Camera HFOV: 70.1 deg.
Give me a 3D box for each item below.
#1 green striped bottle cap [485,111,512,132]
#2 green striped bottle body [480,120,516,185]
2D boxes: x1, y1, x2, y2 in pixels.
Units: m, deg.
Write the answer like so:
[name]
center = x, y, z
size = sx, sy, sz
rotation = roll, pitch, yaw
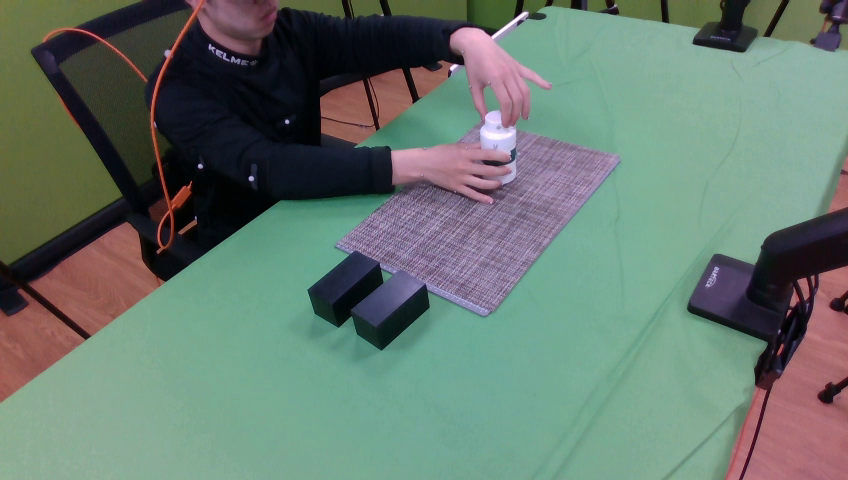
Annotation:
[green striped bottle cap]
center = 0.125, -0.201, 1.024
size = 0.044, 0.020, 0.044
rotation = -10, 38, 8
[green striped bottle body]
center = 0.130, -0.161, 1.057
size = 0.063, 0.120, 0.063
rotation = -4, 40, 4
